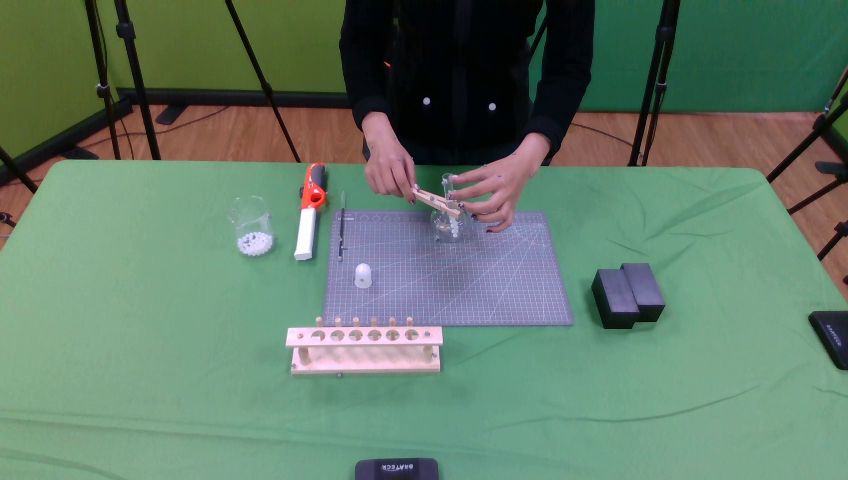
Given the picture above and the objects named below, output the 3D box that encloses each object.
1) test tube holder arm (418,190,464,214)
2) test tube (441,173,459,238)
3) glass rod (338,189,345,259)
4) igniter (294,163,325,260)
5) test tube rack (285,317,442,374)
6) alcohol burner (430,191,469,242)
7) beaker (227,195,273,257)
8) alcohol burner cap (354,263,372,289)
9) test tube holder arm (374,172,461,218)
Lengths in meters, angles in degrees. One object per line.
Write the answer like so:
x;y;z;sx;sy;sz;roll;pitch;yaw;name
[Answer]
0.027;-0.066;1.033;0.087;0.015;0.010;20;50;17;test tube holder arm
0.046;-0.055;1.021;0.017;0.151;0.017;-5;49;6;test tube
-0.166;-0.036;1.227;0.008;0.008;0.198;0;46;-4;glass rod
-0.234;-0.067;1.243;0.057;0.025;0.274;-6;46;4;igniter
-0.095;0.166;0.988;0.242;0.085;0.066;0;46;-4;test tube rack
0.052;-0.053;1.185;0.078;0.119;0.077;2;48;-2;alcohol burner
-0.326;-0.022;1.142;0.074;0.101;0.083;10;47;6;beaker
-0.113;0.063;1.111;0.034;0.048;0.033;2;46;-2;alcohol burner cap
-0.014;-0.079;1.045;0.178;0.015;0.013;25;52;22;test tube holder arm
